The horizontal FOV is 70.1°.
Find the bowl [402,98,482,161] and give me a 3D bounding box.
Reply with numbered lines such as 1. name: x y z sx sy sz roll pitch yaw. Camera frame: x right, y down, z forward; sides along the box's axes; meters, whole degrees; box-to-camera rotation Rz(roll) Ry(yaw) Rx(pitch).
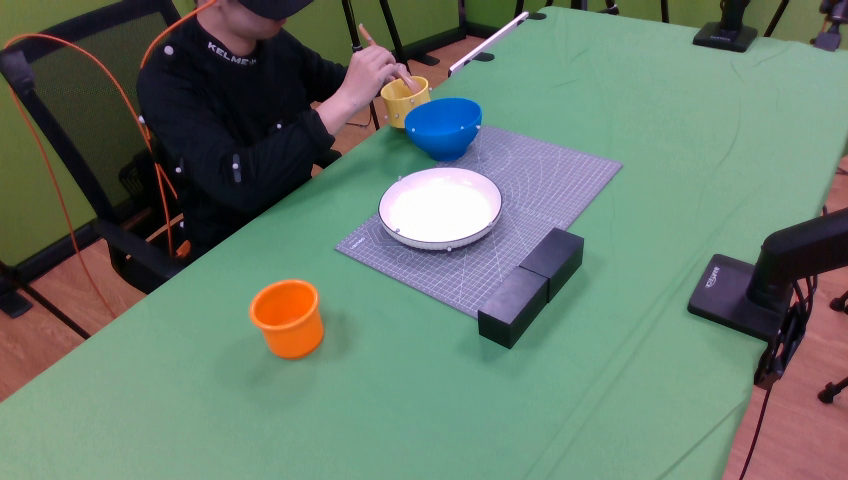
1. bowl: 0.040 -0.203 1.154 0.151 0.077 0.150 -7 38 6

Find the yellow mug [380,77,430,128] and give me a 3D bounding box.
1. yellow mug: -0.041 -0.290 1.248 0.100 0.064 0.129 -25 39 -13

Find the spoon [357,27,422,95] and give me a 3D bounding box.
1. spoon: -0.063 -0.337 1.181 0.021 0.195 0.041 -26 30 44

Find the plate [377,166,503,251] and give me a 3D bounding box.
1. plate: 0.027 -0.050 1.007 0.209 0.038 0.208 -4 41 4
